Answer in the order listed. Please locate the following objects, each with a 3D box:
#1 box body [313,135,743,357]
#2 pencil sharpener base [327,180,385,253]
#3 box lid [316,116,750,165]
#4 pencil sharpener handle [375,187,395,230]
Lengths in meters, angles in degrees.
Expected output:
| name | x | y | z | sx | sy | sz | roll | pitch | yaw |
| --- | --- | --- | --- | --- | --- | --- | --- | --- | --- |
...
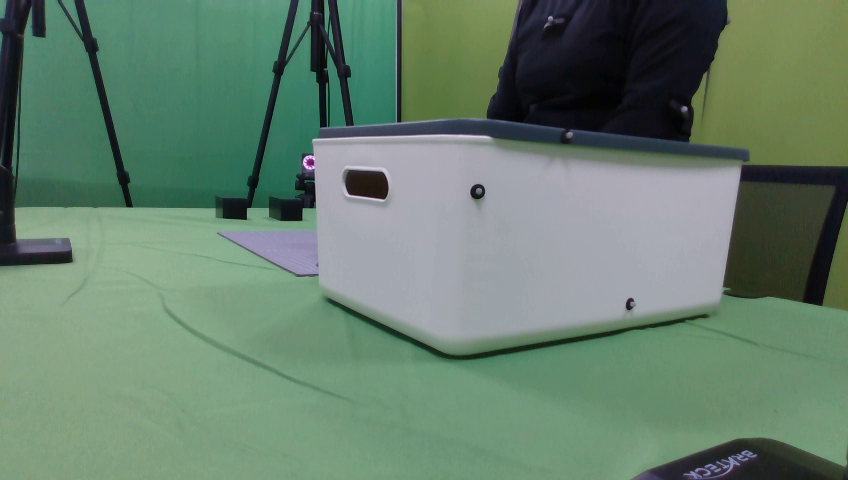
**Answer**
| name | x | y | z | sx | sy | sz | roll | pitch | yaw |
| --- | --- | --- | --- | --- | --- | --- | --- | --- | --- |
| box body | 0.099 | -0.011 | 0.596 | 0.366 | 0.160 | 0.253 | -2 | 8 | -34 |
| pencil sharpener base | -0.103 | -0.037 | 0.932 | 0.077 | 0.107 | 0.061 | -1 | 7 | -30 |
| box lid | 0.106 | -0.089 | 0.593 | 0.374 | 0.015 | 0.262 | -1 | 7 | -35 |
| pencil sharpener handle | -0.059 | -0.050 | 0.958 | 0.031 | 0.067 | 0.036 | -1 | 13 | -30 |
